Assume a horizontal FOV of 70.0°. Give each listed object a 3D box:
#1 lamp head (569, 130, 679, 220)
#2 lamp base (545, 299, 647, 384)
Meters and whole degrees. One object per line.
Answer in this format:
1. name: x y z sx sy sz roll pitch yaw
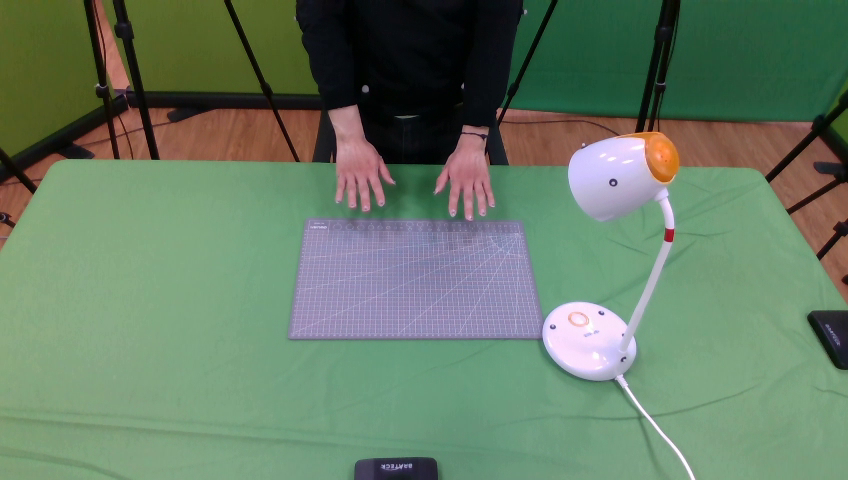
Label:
1. lamp head: 0.272 -0.090 0.798 0.113 0.122 0.112 7 78 -33
2. lamp base: 0.299 0.124 0.984 0.161 0.181 0.178 -23 55 -23
